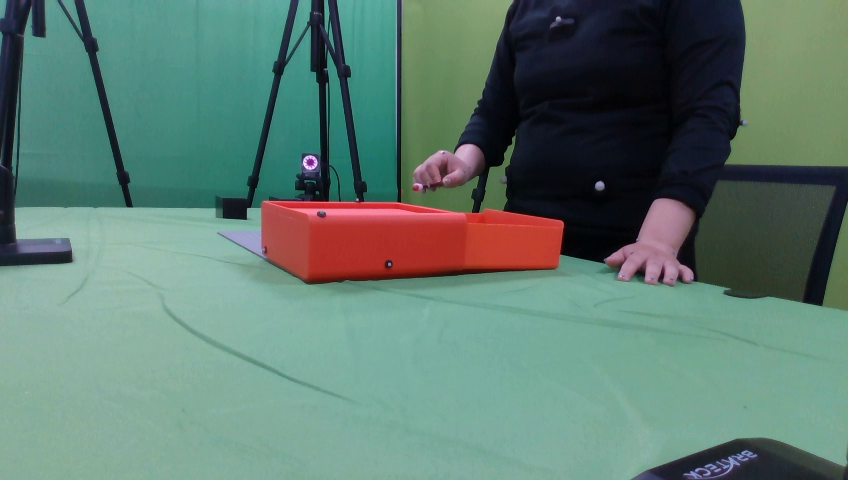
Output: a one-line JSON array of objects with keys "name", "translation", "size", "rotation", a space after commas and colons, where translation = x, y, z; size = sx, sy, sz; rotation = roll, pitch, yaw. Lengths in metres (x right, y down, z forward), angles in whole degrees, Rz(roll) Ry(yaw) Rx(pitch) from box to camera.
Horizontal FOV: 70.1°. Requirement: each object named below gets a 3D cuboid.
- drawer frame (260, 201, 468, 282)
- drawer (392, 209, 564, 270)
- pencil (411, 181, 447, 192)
[{"name": "drawer frame", "translation": [-0.084, -0.006, 0.795], "size": [0.215, 0.082, 0.200], "rotation": [-2, 9, -30]}, {"name": "drawer", "translation": [0.059, -0.006, 0.879], "size": [0.213, 0.073, 0.193], "rotation": [1, 8, -31]}, {"name": "pencil", "translation": [0.013, -0.090, 0.992], "size": [0.012, 0.012, 0.194], "rotation": [5, 9, 16]}]
